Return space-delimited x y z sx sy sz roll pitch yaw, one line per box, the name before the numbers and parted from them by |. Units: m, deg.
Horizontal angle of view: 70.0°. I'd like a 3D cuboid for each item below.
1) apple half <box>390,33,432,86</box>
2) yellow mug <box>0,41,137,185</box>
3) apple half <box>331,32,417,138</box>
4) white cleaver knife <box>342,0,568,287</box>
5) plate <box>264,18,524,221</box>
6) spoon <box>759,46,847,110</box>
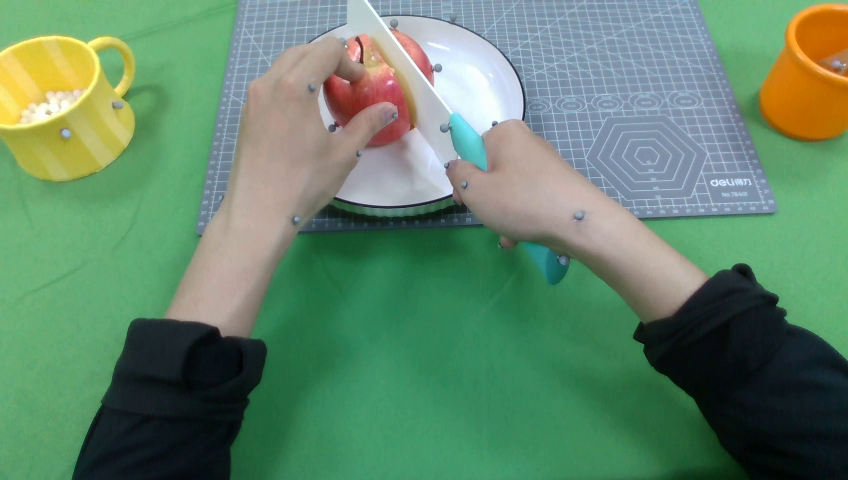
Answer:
apple half | -0.013 -0.128 0.486 0.033 0.082 0.080 -28 62 -19
yellow mug | -0.291 -0.115 0.500 0.099 0.064 0.130 29 63 17
apple half | -0.041 -0.112 0.473 0.053 0.075 0.080 -44 63 -7
white cleaver knife | 0.012 -0.081 0.443 0.021 0.066 0.284 -26 67 -18
plate | -0.024 -0.100 0.499 0.209 0.038 0.207 0 60 1
spoon | 0.359 -0.161 0.467 0.022 0.194 0.041 22 47 -37
